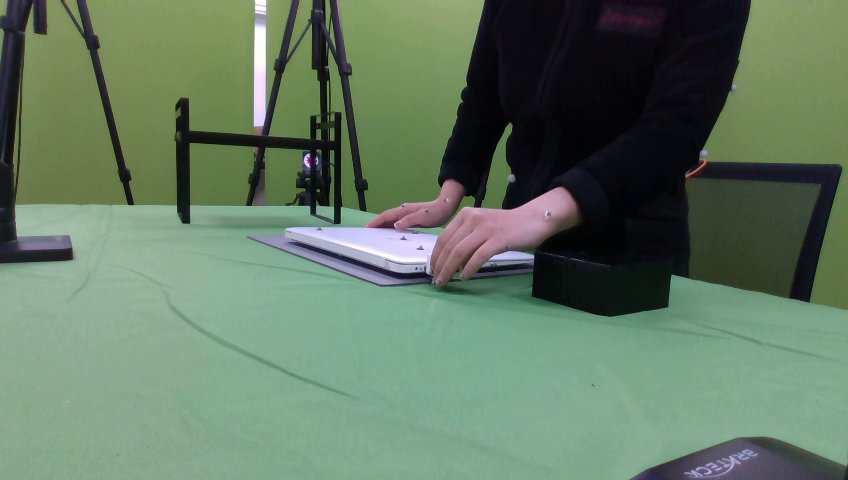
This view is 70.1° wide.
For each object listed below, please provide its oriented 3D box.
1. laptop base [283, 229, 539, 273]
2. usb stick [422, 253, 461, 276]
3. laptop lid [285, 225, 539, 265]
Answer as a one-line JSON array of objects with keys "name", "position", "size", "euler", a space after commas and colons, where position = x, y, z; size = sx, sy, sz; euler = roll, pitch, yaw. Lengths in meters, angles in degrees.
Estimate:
[{"name": "laptop base", "position": [-0.035, 0.013, 0.898], "size": [0.237, 0.023, 0.352], "euler": [2, 6, -36]}, {"name": "usb stick", "position": [0.017, 0.028, 0.692], "size": [0.021, 0.027, 0.059], "euler": [6, -6, -32]}, {"name": "laptop lid", "position": [-0.032, 0.002, 0.898], "size": [0.243, 0.013, 0.355], "euler": [0, 8, -34]}]
